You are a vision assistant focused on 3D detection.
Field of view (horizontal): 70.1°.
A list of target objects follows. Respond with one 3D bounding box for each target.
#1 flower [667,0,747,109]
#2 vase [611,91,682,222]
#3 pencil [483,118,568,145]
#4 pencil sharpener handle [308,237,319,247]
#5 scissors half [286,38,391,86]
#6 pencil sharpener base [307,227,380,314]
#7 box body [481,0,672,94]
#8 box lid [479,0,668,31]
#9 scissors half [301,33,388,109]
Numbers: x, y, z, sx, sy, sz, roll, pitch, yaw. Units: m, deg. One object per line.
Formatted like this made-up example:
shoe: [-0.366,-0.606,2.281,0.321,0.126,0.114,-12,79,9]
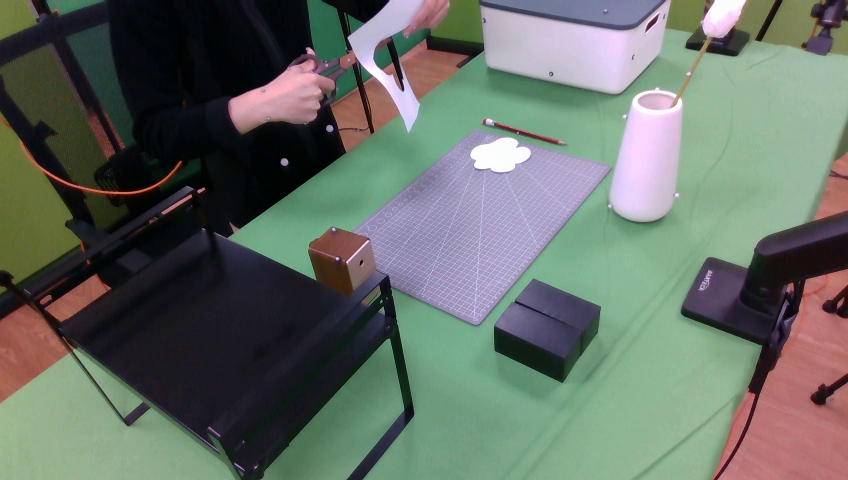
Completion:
flower: [0.354,-0.187,0.879,0.038,0.362,0.044,30,48,14]
vase: [0.348,-0.125,0.935,0.098,0.201,0.097,-3,40,3]
pencil: [0.201,-0.217,1.212,0.192,0.012,0.012,24,49,29]
pencil sharpener handle: [-0.159,0.017,0.892,0.030,0.068,0.036,18,61,28]
scissors half: [-0.134,-0.285,0.947,0.175,0.040,0.012,-20,27,-3]
pencil sharpener base: [-0.116,0.043,0.875,0.076,0.107,0.061,18,47,27]
box body: [0.341,-0.480,1.381,0.361,0.161,0.255,22,48,30]
box lid: [0.335,-0.536,1.331,0.368,0.015,0.264,23,49,30]
scissors half: [-0.123,-0.268,0.956,0.175,0.040,0.012,-41,21,7]
